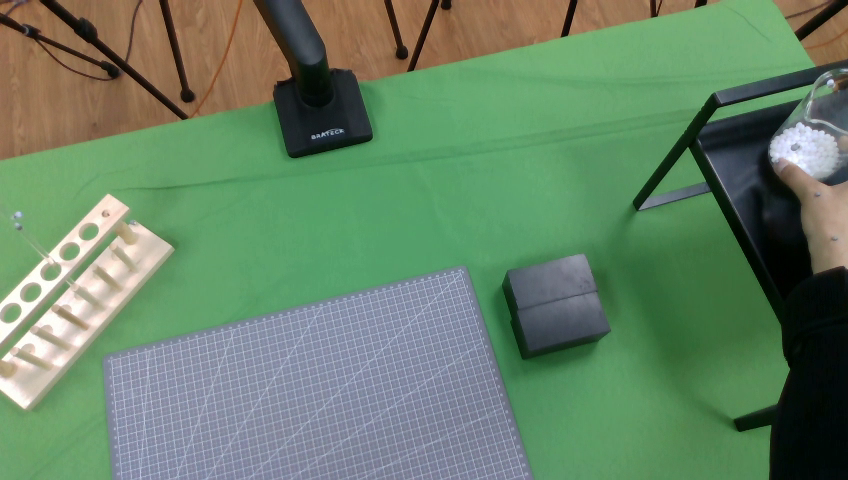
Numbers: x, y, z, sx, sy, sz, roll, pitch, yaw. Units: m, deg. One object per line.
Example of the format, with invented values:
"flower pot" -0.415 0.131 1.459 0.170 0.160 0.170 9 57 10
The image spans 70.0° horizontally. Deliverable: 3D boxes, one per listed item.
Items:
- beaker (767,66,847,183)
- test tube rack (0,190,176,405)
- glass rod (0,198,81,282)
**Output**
"beaker" 0.388 -0.106 0.590 0.084 0.101 0.073 -17 66 -4
"test tube rack" -0.410 0.066 0.702 0.066 0.086 0.241 32 70 11
"glass rod" -0.410 0.008 0.655 0.008 0.201 0.008 2 60 -3
